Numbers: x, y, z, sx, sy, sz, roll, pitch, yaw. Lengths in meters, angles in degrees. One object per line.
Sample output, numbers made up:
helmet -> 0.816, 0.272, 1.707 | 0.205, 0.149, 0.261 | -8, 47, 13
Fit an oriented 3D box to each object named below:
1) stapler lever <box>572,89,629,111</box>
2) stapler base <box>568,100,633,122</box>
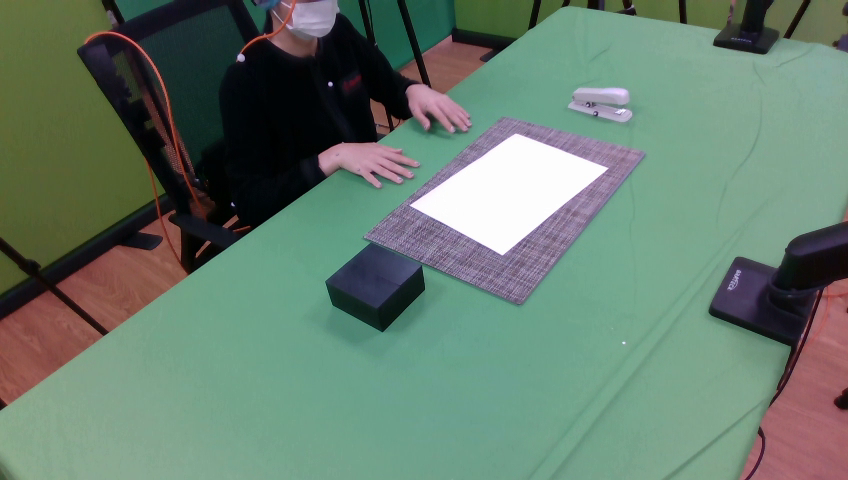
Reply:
stapler lever -> 0.357, -0.292, 1.222 | 0.117, 0.040, 0.027 | 25, 49, 33
stapler base -> 0.361, -0.273, 1.237 | 0.129, 0.024, 0.041 | 24, 48, 34
